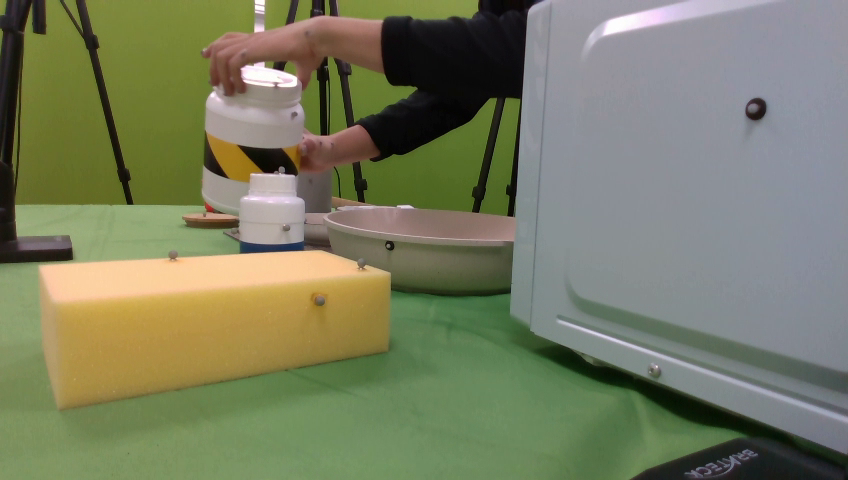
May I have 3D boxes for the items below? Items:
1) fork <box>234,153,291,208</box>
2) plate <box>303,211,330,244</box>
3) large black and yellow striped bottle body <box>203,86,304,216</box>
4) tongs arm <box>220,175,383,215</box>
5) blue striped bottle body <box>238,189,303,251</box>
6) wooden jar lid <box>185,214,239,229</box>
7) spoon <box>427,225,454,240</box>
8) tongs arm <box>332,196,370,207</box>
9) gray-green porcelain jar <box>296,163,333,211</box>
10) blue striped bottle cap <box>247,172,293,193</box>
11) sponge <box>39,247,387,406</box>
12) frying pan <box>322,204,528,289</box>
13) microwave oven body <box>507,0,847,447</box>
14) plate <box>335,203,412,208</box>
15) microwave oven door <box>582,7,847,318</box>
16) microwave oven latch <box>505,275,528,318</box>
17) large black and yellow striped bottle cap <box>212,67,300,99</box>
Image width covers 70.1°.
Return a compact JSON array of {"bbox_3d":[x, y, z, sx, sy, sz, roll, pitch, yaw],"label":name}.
[{"bbox_3d":[-0.396,-0.143,1.486,0.028,0.018,0.208,19,-26,44],"label":"fork"},{"bbox_3d":[-0.139,-0.022,1.021,0.209,0.038,0.209,2,8,0],"label":"plate"},{"bbox_3d":[-0.240,-0.138,0.854,0.131,0.184,0.130,9,25,-4],"label":"large black and yellow striped bottle body"},{"bbox_3d":[-0.285,-0.106,1.445,0.389,0.027,0.028,10,-3,-23],"label":"tongs arm"},{"bbox_3d":[-0.153,-0.007,0.606,0.063,0.120,0.063,2,8,0],"label":"blue striped bottle body"},{"bbox_3d":[-0.404,-0.037,1.169,0.108,0.020,0.108,3,7,0],"label":"wooden jar lid"},{"bbox_3d":[0.024,-0.019,1.124,0.042,0.021,0.193,-17,10,-4],"label":"spoon"},{"bbox_3d":[-0.241,-0.095,1.374,0.387,0.026,0.050,9,1,-37],"label":"tongs arm"},{"bbox_3d":[-0.238,-0.092,1.221,0.106,0.126,0.106,2,7,0],"label":"gray-green porcelain jar"},{"bbox_3d":[-0.152,-0.057,0.598,0.044,0.020,0.044,3,7,0],"label":"blue striped bottle cap"},{"bbox_3d":[-0.142,0.047,0.420,0.208,0.061,0.117,-4,9,-36],"label":"sponge"},{"bbox_3d":[0.110,-0.018,0.800,0.490,0.102,0.305,-12,16,-30],"label":"frying pan"},{"bbox_3d":[0.331,-0.042,0.425,0.444,0.260,0.324,-2,8,-31],"label":"microwave oven body"},{"bbox_3d":[-0.089,-0.053,1.309,0.208,0.039,0.207,2,8,0],"label":"plate"},{"bbox_3d":[0.295,-0.067,0.569,0.358,0.243,0.039,-3,8,-31],"label":"microwave oven door"},{"bbox_3d":[0.100,0.041,0.472,0.079,0.029,0.030,-2,8,-31],"label":"microwave oven latch"},{"bbox_3d":[-0.227,-0.214,0.819,0.115,0.019,0.115,10,23,-4],"label":"large black and yellow striped bottle cap"}]
